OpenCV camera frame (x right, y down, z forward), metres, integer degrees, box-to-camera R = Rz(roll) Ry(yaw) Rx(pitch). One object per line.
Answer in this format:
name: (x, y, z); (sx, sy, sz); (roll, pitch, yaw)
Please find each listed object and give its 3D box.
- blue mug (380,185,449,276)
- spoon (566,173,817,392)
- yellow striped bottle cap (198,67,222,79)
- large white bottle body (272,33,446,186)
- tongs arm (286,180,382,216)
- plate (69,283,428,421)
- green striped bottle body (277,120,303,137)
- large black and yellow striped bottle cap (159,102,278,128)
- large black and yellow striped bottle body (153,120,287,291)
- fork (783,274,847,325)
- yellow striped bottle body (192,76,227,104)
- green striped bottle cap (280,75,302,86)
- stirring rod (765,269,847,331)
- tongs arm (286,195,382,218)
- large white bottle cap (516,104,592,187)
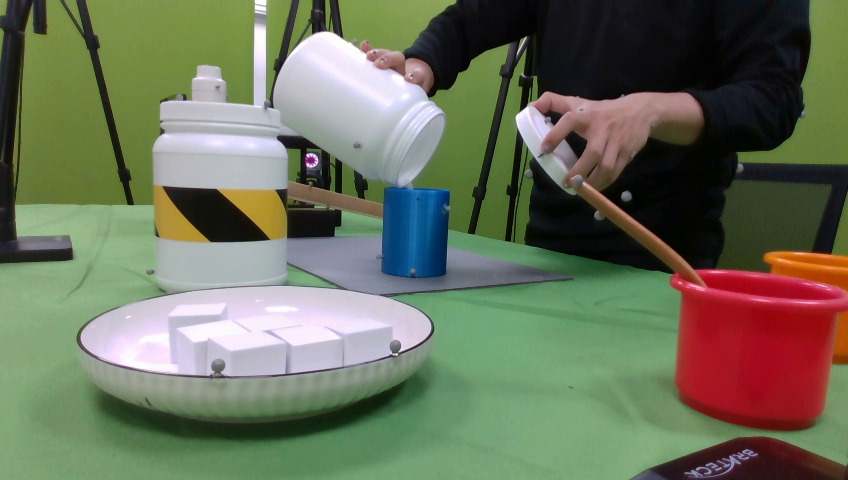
blue mug: (-0.018, -0.016, 0.764); (0.083, 0.106, 0.116); (-1, 8, -25)
spoon: (0.161, 0.024, 0.370); (0.193, 0.021, 0.042); (47, 17, 3)
yellow striped bottle cap: (-0.412, -0.320, 1.162); (0.044, 0.018, 0.044); (0, 5, 0)
large white bottle body: (-0.078, -0.159, 0.753); (0.184, 0.130, 0.131); (33, 15, 11)
tongs arm: (-0.122, -0.066, 1.147); (0.387, 0.026, 0.050); (11, -2, -37)
plate: (-0.102, 0.066, 0.380); (0.208, 0.039, 0.207); (2, 7, 0)
green striped bottle body: (-0.269, -0.269, 1.221); (0.063, 0.119, 0.063); (2, 7, 0)
large black and yellow striped bottle cap: (-0.207, -0.125, 0.615); (0.115, 0.019, 0.115); (2, 6, 0)
large black and yellow striped bottle body: (-0.208, -0.042, 0.626); (0.131, 0.184, 0.130); (2, 7, 0)
fork: (0.332, 0.018, 0.443); (0.028, 0.018, 0.207); (-1, -36, -15)
yellow striped bottle body: (-0.414, -0.268, 1.169); (0.063, 0.120, 0.063); (2, 7, 0)
green striped bottle cap: (-0.267, -0.320, 1.216); (0.044, 0.020, 0.044); (4, 9, 0)
stirring rod: (0.351, 0.020, 0.484); (0.176, 0.006, 0.014); (-40, -7, 12)
tongs arm: (-0.165, -0.074, 1.216); (0.389, 0.027, 0.028); (11, -6, -24)
large white bottle cap: (0.149, -0.108, 0.692); (0.018, 0.114, 0.115); (-41, -15, 27)
